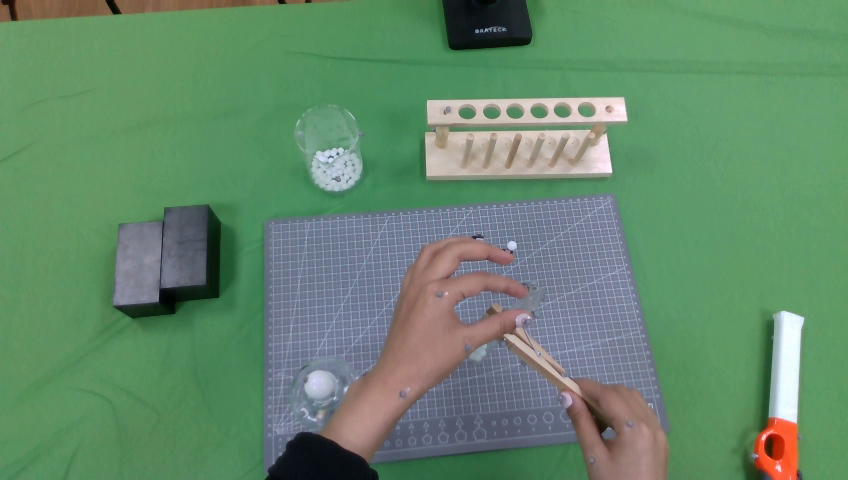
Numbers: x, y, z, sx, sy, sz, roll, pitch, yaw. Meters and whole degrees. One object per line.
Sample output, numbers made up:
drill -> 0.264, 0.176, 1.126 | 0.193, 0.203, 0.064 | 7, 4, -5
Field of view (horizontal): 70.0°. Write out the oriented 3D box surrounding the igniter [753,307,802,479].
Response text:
igniter -> 0.398, 0.209, 0.678 | 0.057, 0.025, 0.275 | 18, 69, -5

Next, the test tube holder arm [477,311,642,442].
test tube holder arm -> 0.120, 0.123, 0.540 | 0.178, 0.015, 0.013 | 39, 56, 0

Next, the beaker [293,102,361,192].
beaker -> -0.115, -0.107, 0.743 | 0.074, 0.101, 0.083 | -2, 69, -3

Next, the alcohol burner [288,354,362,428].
alcohol burner -> -0.104, 0.154, 0.632 | 0.078, 0.120, 0.077 | 1, 67, -3

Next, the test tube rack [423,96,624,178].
test tube rack -> 0.121, -0.129, 0.767 | 0.242, 0.085, 0.066 | -1, 69, -2

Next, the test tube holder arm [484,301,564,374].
test tube holder arm -> 0.090, 0.090, 0.544 | 0.087, 0.015, 0.010 | 45, 56, 5

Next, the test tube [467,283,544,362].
test tube -> 0.069, 0.079, 0.546 | 0.017, 0.151, 0.017 | 9, 57, -14

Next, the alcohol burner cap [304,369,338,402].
alcohol burner cap -> -0.103, 0.142, 0.598 | 0.034, 0.048, 0.033 | 1, 74, -3
